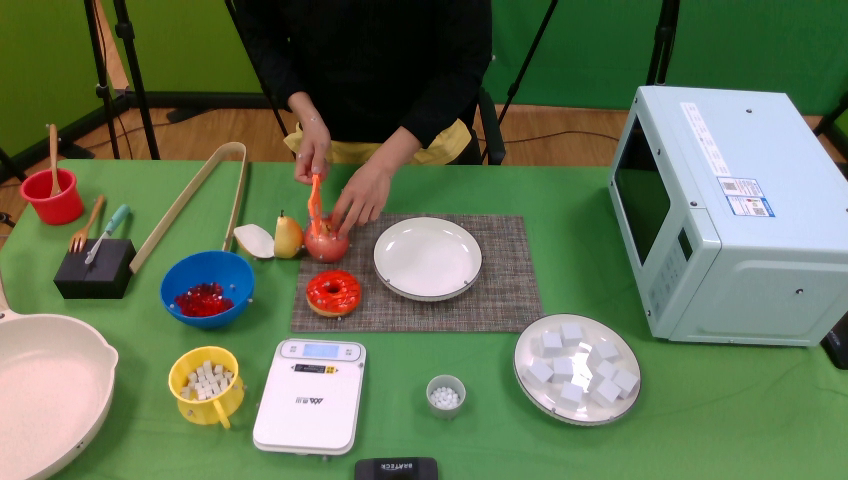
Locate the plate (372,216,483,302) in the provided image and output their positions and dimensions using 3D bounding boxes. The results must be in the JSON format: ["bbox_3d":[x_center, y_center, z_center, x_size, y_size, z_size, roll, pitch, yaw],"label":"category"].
[{"bbox_3d":[0.006,0.038,1.145,0.209,0.038,0.208,2,46,-2],"label":"plate"}]

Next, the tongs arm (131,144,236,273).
[{"bbox_3d":[-0.483,-0.078,1.234,0.028,0.028,0.385,6,45,13],"label":"tongs arm"}]

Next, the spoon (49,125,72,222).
[{"bbox_3d":[-0.718,-0.131,1.189,0.041,0.021,0.193,-4,90,-6],"label":"spoon"}]

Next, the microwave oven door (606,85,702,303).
[{"bbox_3d":[0.423,-0.094,1.140,0.039,0.245,0.353,2,46,-1],"label":"microwave oven door"}]

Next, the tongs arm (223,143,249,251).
[{"bbox_3d":[-0.397,-0.073,1.232,0.051,0.026,0.382,-2,45,0],"label":"tongs arm"}]

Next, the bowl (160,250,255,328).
[{"bbox_3d":[-0.362,0.098,1.040,0.151,0.077,0.150,2,45,-2],"label":"bowl"}]

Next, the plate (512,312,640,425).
[{"bbox_3d":[0.246,0.213,0.999,0.208,0.039,0.206,2,46,-2],"label":"plate"}]

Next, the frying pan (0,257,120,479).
[{"bbox_3d":[-0.647,0.164,0.936,0.307,0.103,0.485,-19,58,-22],"label":"frying pan"}]

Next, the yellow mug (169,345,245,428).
[{"bbox_3d":[-0.322,0.230,0.922,0.100,0.064,0.130,-24,53,-25],"label":"yellow mug"}]

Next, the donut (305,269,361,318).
[{"bbox_3d":[-0.160,0.094,1.075,0.099,0.048,0.098,4,45,-3],"label":"donut"}]

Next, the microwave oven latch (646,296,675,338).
[{"bbox_3d":[0.412,0.134,1.061,0.030,0.029,0.078,4,45,1],"label":"microwave oven latch"}]

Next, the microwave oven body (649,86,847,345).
[{"bbox_3d":[0.567,-0.053,1.118,0.326,0.261,0.439,2,45,-1],"label":"microwave oven body"}]

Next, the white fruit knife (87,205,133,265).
[{"bbox_3d":[-0.584,-0.013,1.129,0.016,0.027,0.206,-1,32,-4],"label":"white fruit knife"}]

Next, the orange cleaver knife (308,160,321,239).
[{"bbox_3d":[-0.199,-0.079,1.114,0.012,0.077,0.210,-5,33,-2],"label":"orange cleaver knife"}]

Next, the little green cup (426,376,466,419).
[{"bbox_3d":[0.033,0.248,0.950,0.061,0.039,0.061,2,46,-2],"label":"little green cup"}]

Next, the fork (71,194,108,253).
[{"bbox_3d":[-0.634,-0.036,1.158,0.028,0.019,0.206,-7,31,-8],"label":"fork"}]

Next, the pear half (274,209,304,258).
[{"bbox_3d":[-0.253,-0.016,1.134,0.056,0.110,0.076,0,49,-11],"label":"pear half"}]

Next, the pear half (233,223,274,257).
[{"bbox_3d":[-0.325,0.004,1.146,0.088,0.031,0.070,23,40,-34],"label":"pear half"}]

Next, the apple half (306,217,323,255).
[{"bbox_3d":[-0.204,-0.001,1.141,0.033,0.082,0.081,-2,46,2],"label":"apple half"}]

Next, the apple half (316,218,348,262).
[{"bbox_3d":[-0.170,0.003,1.143,0.053,0.075,0.080,7,43,-1],"label":"apple half"}]

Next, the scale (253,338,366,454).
[{"bbox_3d":[-0.175,0.236,0.951,0.149,0.032,0.199,4,45,-1],"label":"scale"}]
